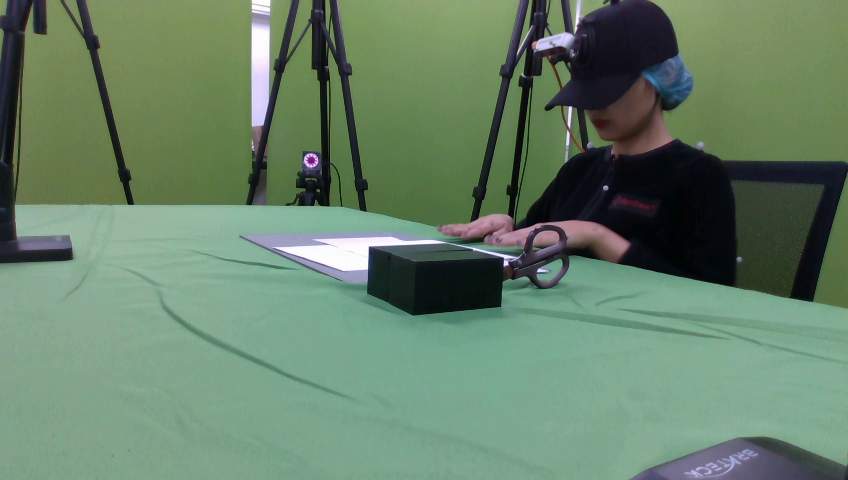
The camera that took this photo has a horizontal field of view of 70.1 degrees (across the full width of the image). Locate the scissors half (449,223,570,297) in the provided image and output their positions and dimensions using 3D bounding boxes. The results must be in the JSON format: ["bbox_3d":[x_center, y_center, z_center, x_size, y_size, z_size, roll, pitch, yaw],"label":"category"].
[{"bbox_3d":[0.096,0.023,0.665,0.176,0.040,0.013,-28,20,-27],"label":"scissors half"}]

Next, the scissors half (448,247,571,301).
[{"bbox_3d":[0.099,0.041,0.671,0.176,0.040,0.012,-13,19,-31],"label":"scissors half"}]
